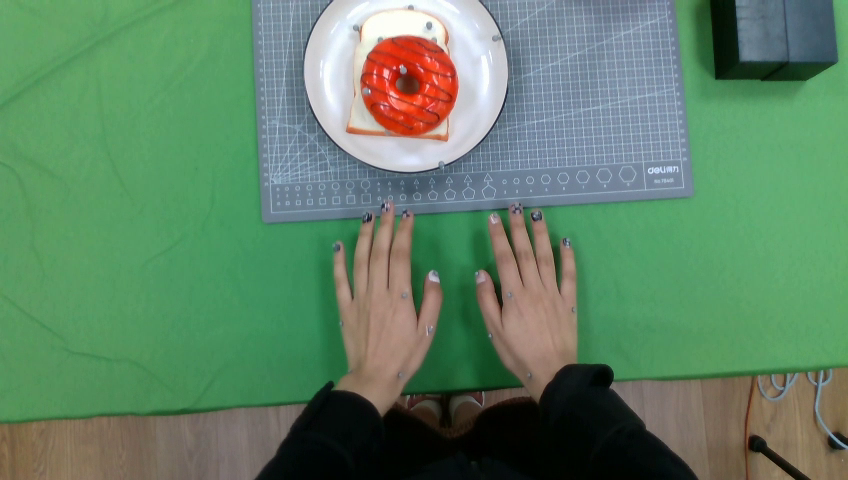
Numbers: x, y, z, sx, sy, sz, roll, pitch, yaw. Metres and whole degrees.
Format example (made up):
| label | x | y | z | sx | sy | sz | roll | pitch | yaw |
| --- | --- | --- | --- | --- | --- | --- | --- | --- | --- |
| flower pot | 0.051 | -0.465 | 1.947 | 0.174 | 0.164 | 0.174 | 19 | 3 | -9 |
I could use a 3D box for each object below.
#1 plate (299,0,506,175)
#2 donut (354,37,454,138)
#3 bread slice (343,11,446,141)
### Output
| label | x | y | z | sx | sy | sz | roll | pitch | yaw |
| --- | --- | --- | --- | --- | --- | --- | --- | --- | --- |
| plate | -0.021 | -0.166 | 0.622 | 0.209 | 0.038 | 0.208 | 0 | 85 | -2 |
| donut | -0.019 | -0.149 | 0.594 | 0.099 | 0.048 | 0.099 | 0 | 89 | -4 |
| bread slice | -0.028 | -0.171 | 0.625 | 0.105 | 0.019 | 0.131 | 3 | 86 | -3 |
